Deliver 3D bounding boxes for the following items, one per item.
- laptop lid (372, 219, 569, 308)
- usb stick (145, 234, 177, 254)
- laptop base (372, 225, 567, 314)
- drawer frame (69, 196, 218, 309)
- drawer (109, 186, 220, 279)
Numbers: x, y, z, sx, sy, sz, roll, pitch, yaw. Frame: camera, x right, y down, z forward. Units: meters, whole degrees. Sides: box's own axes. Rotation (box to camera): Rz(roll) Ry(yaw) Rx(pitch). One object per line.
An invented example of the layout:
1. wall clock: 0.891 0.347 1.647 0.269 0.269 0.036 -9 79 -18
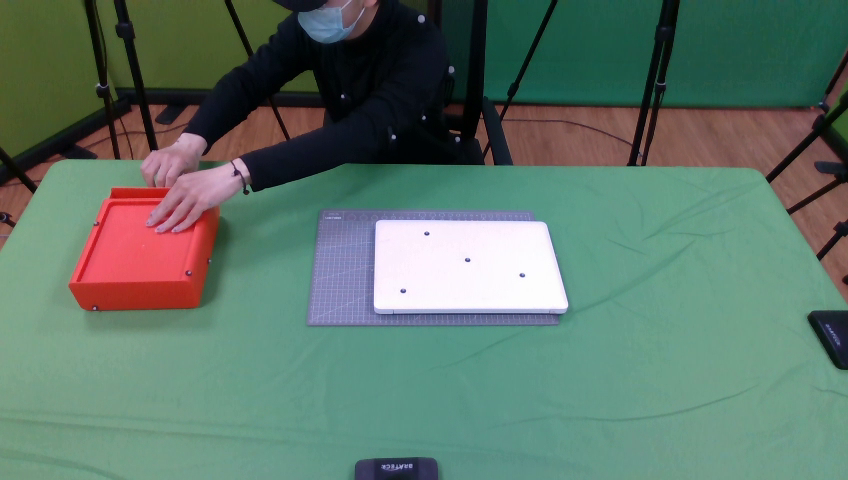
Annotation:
1. laptop lid: 0.081 0.039 1.152 0.357 0.013 0.240 2 44 -3
2. usb stick: -0.498 0.006 1.140 0.059 0.027 0.021 11 46 6
3. laptop base: 0.080 0.049 1.158 0.355 0.023 0.234 0 43 -4
4. drawer frame: -0.497 0.018 1.101 0.202 0.083 0.212 -1 47 -6
5. drawer: -0.500 -0.007 1.126 0.195 0.073 0.210 0 47 -6
